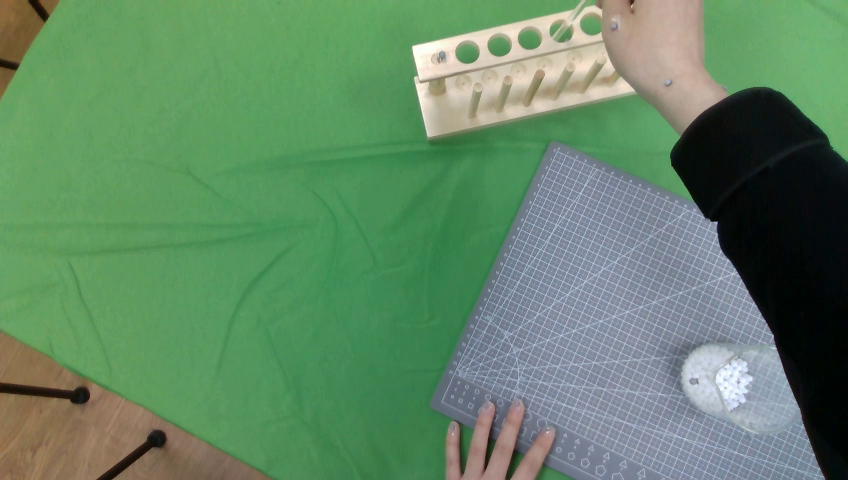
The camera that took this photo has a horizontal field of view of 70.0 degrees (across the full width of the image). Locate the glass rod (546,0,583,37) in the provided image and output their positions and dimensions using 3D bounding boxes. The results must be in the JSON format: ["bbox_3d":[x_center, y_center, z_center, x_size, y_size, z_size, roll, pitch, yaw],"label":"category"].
[{"bbox_3d":[0.132,-0.201,0.478,0.008,0.199,0.008,1,84,-9],"label":"glass rod"}]

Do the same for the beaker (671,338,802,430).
[{"bbox_3d":[0.275,0.126,0.554,0.084,0.100,0.074,14,84,2],"label":"beaker"}]

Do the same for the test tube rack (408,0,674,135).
[{"bbox_3d":[0.110,-0.170,0.590,0.242,0.085,0.066,-12,84,-1],"label":"test tube rack"}]
